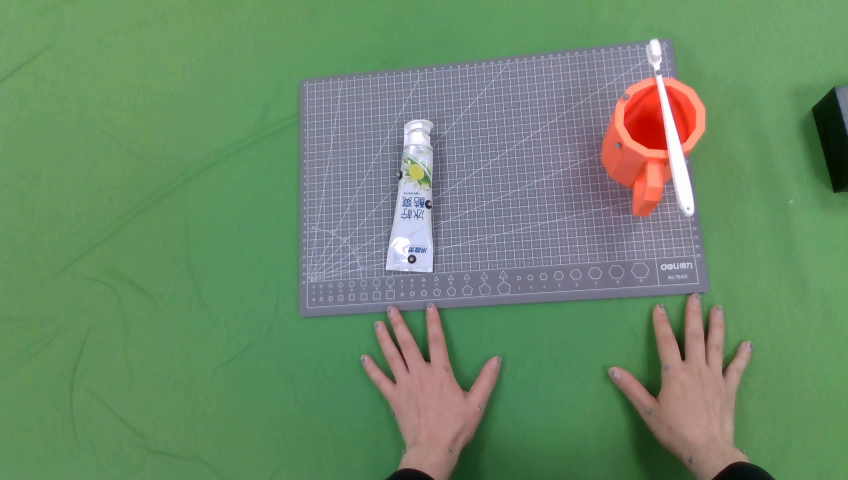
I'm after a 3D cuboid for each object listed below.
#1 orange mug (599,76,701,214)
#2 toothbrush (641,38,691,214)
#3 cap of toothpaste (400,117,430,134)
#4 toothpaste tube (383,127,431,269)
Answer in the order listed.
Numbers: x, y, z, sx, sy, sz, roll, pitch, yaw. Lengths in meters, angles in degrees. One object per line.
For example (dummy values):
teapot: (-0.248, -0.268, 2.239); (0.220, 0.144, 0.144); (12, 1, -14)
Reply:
orange mug: (0.232, -0.094, 0.634); (0.083, 0.101, 0.125); (4, 73, 9)
toothbrush: (0.234, -0.113, 0.583); (0.014, 0.017, 0.181); (-7, 77, 3)
cap of toothpaste: (-0.010, -0.131, 0.705); (0.037, 0.037, 0.011); (-10, 73, 5)
toothpaste tube: (-0.016, -0.050, 0.694); (0.055, 0.035, 0.164); (1, 82, 13)
